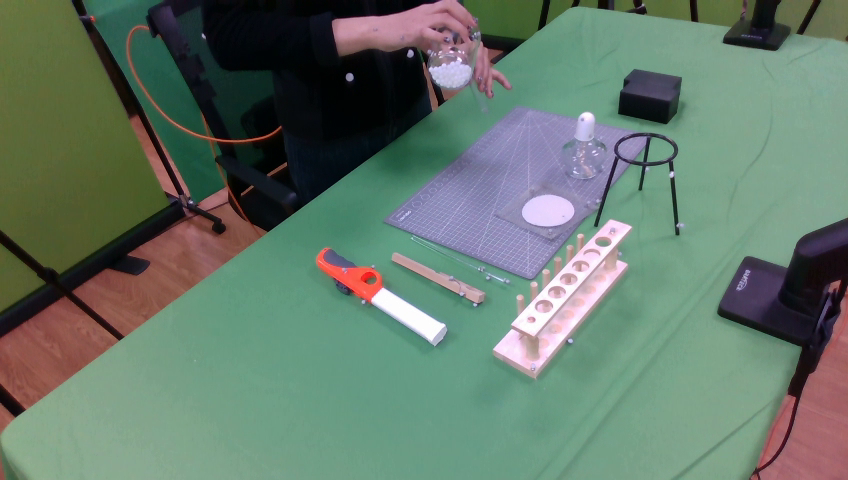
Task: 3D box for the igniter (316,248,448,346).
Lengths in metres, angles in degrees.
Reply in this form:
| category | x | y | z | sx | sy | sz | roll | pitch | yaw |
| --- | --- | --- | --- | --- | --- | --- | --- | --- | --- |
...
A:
| category | x | y | z | sx | sy | sz | roll | pitch | yaw |
| --- | --- | --- | --- | --- | --- | --- | --- | --- | --- |
| igniter | -0.074 | 0.078 | 0.902 | 0.274 | 0.025 | 0.057 | 29 | 63 | 36 |

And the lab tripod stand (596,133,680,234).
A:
| category | x | y | z | sx | sy | sz | roll | pitch | yaw |
| --- | --- | --- | --- | --- | --- | --- | --- | --- | --- |
| lab tripod stand | 0.338 | -0.091 | 0.940 | 0.148 | 0.132 | 0.147 | -7 | 39 | 6 |

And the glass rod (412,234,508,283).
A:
| category | x | y | z | sx | sy | sz | roll | pitch | yaw |
| --- | --- | --- | --- | --- | --- | --- | --- | --- | --- |
| glass rod | 0.051 | 0.027 | 0.951 | 0.198 | 0.008 | 0.008 | 26 | 52 | 37 |

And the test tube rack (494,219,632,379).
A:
| category | x | y | z | sx | sy | sz | roll | pitch | yaw |
| --- | --- | --- | --- | --- | --- | --- | --- | --- | --- |
| test tube rack | 0.191 | 0.068 | 0.818 | 0.066 | 0.085 | 0.243 | 25 | 51 | 35 |

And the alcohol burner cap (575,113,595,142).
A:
| category | x | y | z | sx | sy | sz | roll | pitch | yaw |
| --- | --- | --- | --- | --- | --- | --- | --- | --- | --- |
| alcohol burner cap | 0.276 | -0.194 | 1.028 | 0.034 | 0.048 | 0.033 | -2 | 45 | 3 |

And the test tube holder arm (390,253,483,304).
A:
| category | x | y | z | sx | sy | sz | roll | pitch | yaw |
| --- | --- | --- | --- | --- | --- | --- | --- | --- | --- |
| test tube holder arm | 0.015 | 0.056 | 0.916 | 0.177 | 0.015 | 0.013 | 23 | 16 | 34 |

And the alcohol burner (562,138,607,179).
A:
| category | x | y | z | sx | sy | sz | roll | pitch | yaw |
| --- | --- | --- | --- | --- | --- | --- | --- | --- | --- |
| alcohol burner | 0.280 | -0.167 | 1.052 | 0.078 | 0.119 | 0.077 | -5 | 38 | 4 |

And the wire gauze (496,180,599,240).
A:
| category | x | y | z | sx | sy | sz | roll | pitch | yaw |
| --- | --- | --- | --- | --- | --- | --- | --- | --- | --- |
| wire gauze | 0.206 | -0.050 | 1.012 | 0.125 | 0.011 | 0.120 | -34 | 45 | -26 |

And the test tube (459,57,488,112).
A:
| category | x | y | z | sx | sy | sz | roll | pitch | yaw |
| --- | --- | --- | --- | --- | --- | --- | --- | --- | --- |
| test tube | 0.089 | -0.268 | 1.057 | 0.017 | 0.151 | 0.017 | -7 | 68 | 18 |

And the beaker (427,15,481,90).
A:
| category | x | y | z | sx | sy | sz | roll | pitch | yaw |
| --- | --- | --- | --- | --- | --- | --- | --- | --- | --- |
| beaker | 0.047 | -0.285 | 0.934 | 0.074 | 0.084 | 0.100 | -2 | 47 | 17 |

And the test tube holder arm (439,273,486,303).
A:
| category | x | y | z | sx | sy | sz | roll | pitch | yaw |
| --- | --- | --- | --- | --- | --- | --- | --- | --- | --- |
| test tube holder arm | 0.053 | 0.070 | 0.896 | 0.087 | 0.015 | 0.010 | 24 | 16 | 35 |
